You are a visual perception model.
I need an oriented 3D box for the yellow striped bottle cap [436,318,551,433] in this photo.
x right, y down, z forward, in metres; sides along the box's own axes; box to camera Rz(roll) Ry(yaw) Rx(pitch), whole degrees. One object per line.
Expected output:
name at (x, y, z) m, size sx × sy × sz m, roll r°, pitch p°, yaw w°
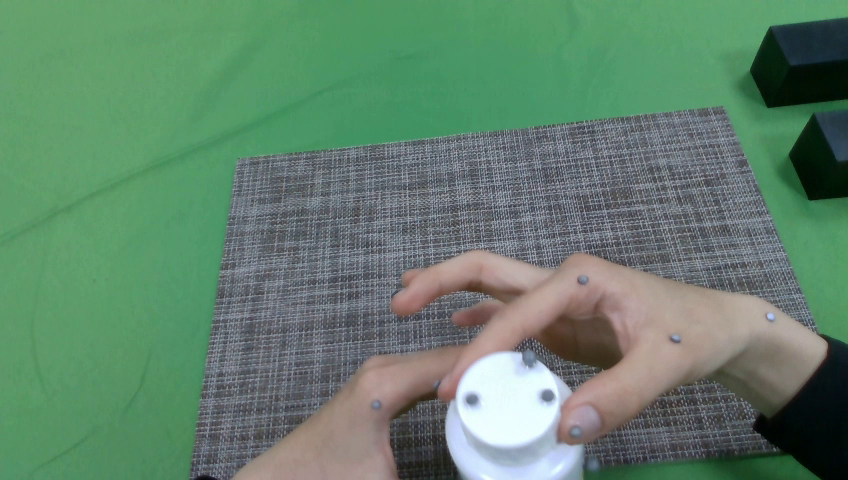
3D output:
yellow striped bottle cap at (0.028, 0.054, 0.243) m, size 0.044 × 0.019 × 0.044 m, roll -12°, pitch 50°, yaw 15°

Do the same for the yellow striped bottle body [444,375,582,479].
yellow striped bottle body at (0.046, 0.104, 0.298) m, size 0.063 × 0.121 × 0.062 m, roll -7°, pitch 50°, yaw 9°
